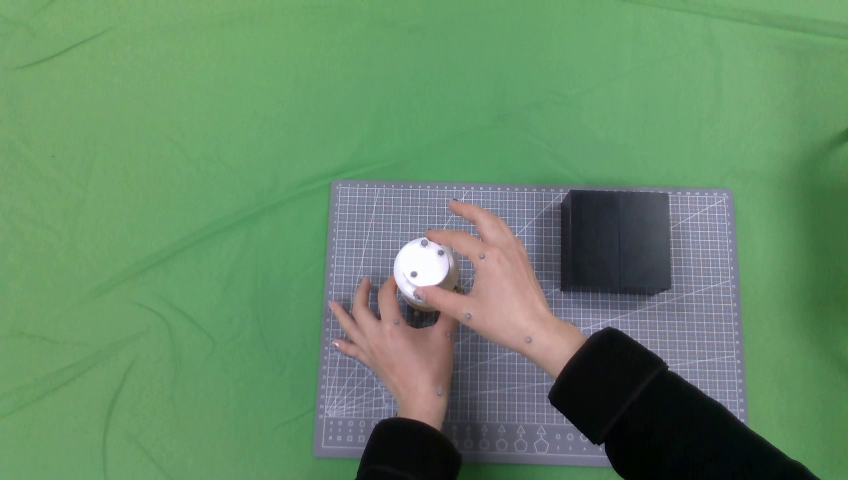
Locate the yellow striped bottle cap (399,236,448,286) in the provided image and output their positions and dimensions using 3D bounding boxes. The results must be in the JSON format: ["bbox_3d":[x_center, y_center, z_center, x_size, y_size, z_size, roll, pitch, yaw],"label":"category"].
[{"bbox_3d":[-0.001,0.018,0.551,0.044,0.019,0.044,-1,77,3],"label":"yellow striped bottle cap"}]

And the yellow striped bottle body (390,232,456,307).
[{"bbox_3d":[0.000,0.030,0.603,0.063,0.121,0.062,0,78,2],"label":"yellow striped bottle body"}]
